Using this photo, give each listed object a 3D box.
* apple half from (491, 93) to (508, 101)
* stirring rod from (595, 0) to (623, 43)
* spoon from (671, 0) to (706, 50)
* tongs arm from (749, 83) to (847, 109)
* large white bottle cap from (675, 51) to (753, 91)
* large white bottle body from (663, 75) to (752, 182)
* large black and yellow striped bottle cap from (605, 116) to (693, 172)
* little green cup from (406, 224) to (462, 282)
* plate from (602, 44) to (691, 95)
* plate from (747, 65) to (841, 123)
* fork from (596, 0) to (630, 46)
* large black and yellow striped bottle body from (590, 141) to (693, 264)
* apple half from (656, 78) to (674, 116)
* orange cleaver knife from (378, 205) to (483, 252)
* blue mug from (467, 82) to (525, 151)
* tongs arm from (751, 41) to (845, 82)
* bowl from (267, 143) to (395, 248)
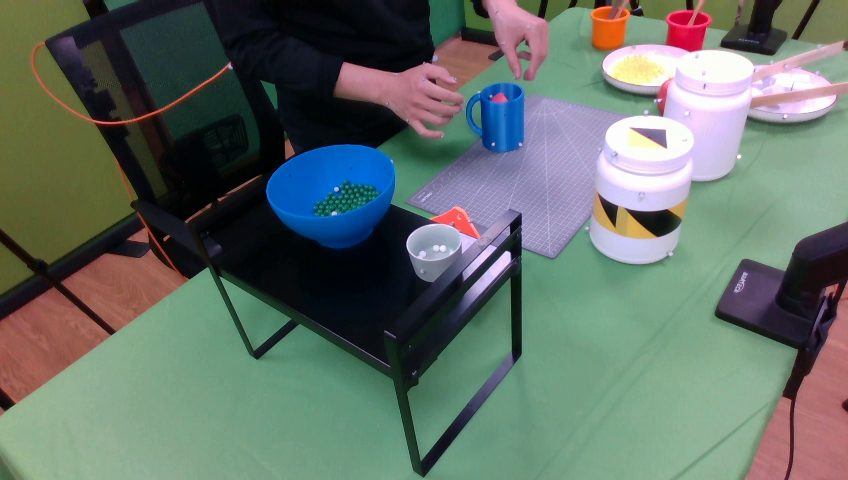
[{"bbox_3d":[0.141,-0.238,1.158,0.033,0.081,0.080,-13,40,-17],"label":"apple half"},{"bbox_3d":[0.460,-0.556,1.460,0.014,0.006,0.176,30,93,23],"label":"stirring rod"},{"bbox_3d":[0.628,-0.520,1.394,0.041,0.022,0.193,30,96,34],"label":"spoon"},{"bbox_3d":[0.735,-0.280,1.133,0.388,0.028,0.028,-9,47,-5],"label":"tongs arm"},{"bbox_3d":[0.463,-0.271,0.967,0.115,0.018,0.114,-4,40,3],"label":"large white bottle cap"},{"bbox_3d":[0.472,-0.207,1.022,0.130,0.185,0.130,-4,41,4],"label":"large white bottle body"},{"bbox_3d":[0.309,-0.134,0.833,0.115,0.019,0.114,-5,40,5],"label":"large black and yellow striped bottle cap"},{"bbox_3d":[0.013,0.015,0.668,0.061,0.039,0.061,-4,40,4],"label":"little green cup"},{"bbox_3d":[0.495,-0.367,1.317,0.209,0.038,0.208,-4,40,4],"label":"plate"},{"bbox_3d":[0.694,-0.283,1.189,0.207,0.039,0.206,-4,40,4],"label":"plate"},{"bbox_3d":[0.481,-0.556,1.453,0.028,0.019,0.207,40,103,40],"label":"fork"},{"bbox_3d":[0.317,-0.071,0.889,0.131,0.185,0.130,-4,41,4],"label":"large black and yellow striped bottle body"},{"bbox_3d":[0.488,-0.281,1.192,0.053,0.075,0.081,24,53,37],"label":"apple half"},{"bbox_3d":[0.005,-0.010,0.944,0.210,0.077,0.012,-5,23,47],"label":"orange cleaver knife"},{"bbox_3d":[0.138,-0.241,1.170,0.116,0.106,0.082,11,44,21],"label":"blue mug"},{"bbox_3d":[0.708,-0.331,1.194,0.386,0.026,0.050,-19,45,-16],"label":"tongs arm"},{"bbox_3d":[-0.104,-0.043,0.726,0.151,0.077,0.150,-4,40,4],"label":"bowl"}]
